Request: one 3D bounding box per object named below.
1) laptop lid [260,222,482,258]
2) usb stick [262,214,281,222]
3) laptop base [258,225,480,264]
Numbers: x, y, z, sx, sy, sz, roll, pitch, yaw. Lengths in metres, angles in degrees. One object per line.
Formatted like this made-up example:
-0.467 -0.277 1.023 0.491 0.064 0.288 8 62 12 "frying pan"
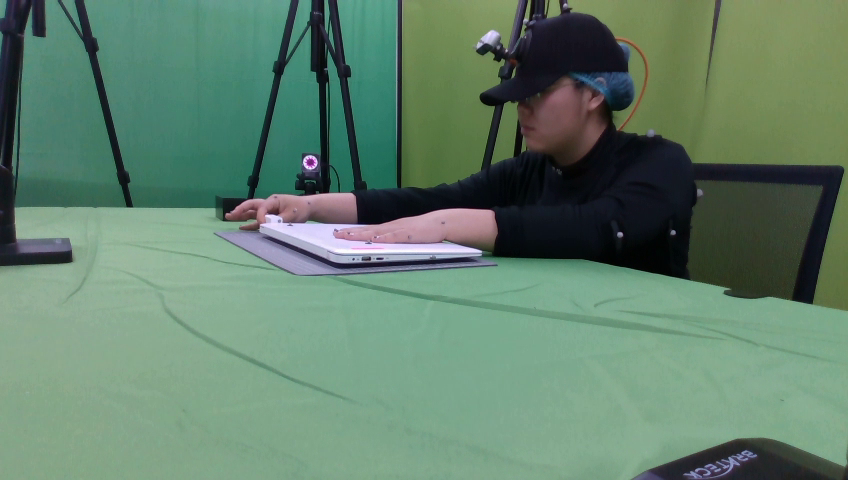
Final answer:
-0.100 -0.003 0.962 0.243 0.013 0.355 2 7 -30 "laptop lid"
-0.270 -0.030 1.080 0.021 0.027 0.059 -7 18 -30 "usb stick"
-0.102 0.007 0.962 0.237 0.023 0.352 2 6 -32 "laptop base"
